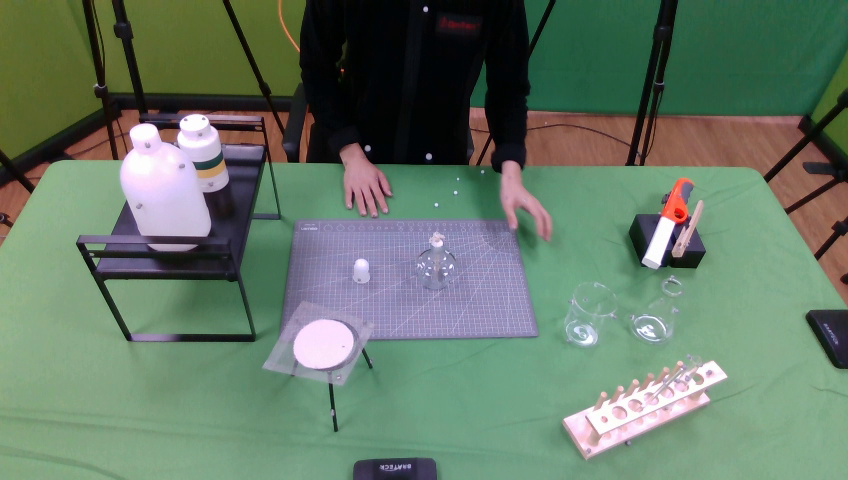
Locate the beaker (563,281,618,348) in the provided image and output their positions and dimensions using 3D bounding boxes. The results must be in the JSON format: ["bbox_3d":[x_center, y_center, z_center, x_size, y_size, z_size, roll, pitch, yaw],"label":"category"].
[{"bbox_3d":[0.283,0.129,1.041,0.074,0.101,0.083,11,46,7],"label":"beaker"}]

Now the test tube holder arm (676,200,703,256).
[{"bbox_3d":[0.523,-0.025,1.190,0.013,0.015,0.178,1,36,41],"label":"test tube holder arm"}]

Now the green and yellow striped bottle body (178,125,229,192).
[{"bbox_3d":[-0.361,-0.142,0.989,0.063,0.120,0.063,2,46,-2],"label":"green and yellow striped bottle body"}]

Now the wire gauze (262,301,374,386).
[{"bbox_3d":[-0.150,0.148,0.873,0.121,0.011,0.124,14,46,12],"label":"wire gauze"}]

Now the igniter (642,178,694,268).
[{"bbox_3d":[0.488,-0.042,1.205,0.057,0.025,0.276,30,52,11],"label":"igniter"}]

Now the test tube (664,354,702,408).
[{"bbox_3d":[0.385,0.215,0.906,0.017,0.151,0.017,-1,49,1],"label":"test tube"}]

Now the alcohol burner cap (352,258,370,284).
[{"bbox_3d":[-0.117,0.055,1.118,0.034,0.048,0.033,1,46,-1],"label":"alcohol burner cap"}]

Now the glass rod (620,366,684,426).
[{"bbox_3d":[0.322,0.227,0.866,0.008,0.200,0.008,6,51,-7],"label":"glass rod"}]

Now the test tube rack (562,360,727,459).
[{"bbox_3d":[0.341,0.247,0.940,0.243,0.085,0.066,-16,49,-19],"label":"test tube rack"}]

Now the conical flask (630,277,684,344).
[{"bbox_3d":[0.408,0.117,1.045,0.075,0.122,0.075,2,46,-2],"label":"conical flask"}]

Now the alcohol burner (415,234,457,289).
[{"bbox_3d":[0.022,0.033,1.100,0.078,0.120,0.077,1,47,-1],"label":"alcohol burner"}]

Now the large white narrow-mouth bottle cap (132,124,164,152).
[{"bbox_3d":[-0.370,-0.137,0.813,0.038,0.024,0.037,3,46,-3],"label":"large white narrow-mouth bottle cap"}]

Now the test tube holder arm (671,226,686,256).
[{"bbox_3d":[0.494,0.001,1.166,0.010,0.015,0.087,1,36,42],"label":"test tube holder arm"}]

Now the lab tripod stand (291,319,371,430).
[{"bbox_3d":[-0.146,0.194,0.923,0.148,0.132,0.147,1,47,-1],"label":"lab tripod stand"}]

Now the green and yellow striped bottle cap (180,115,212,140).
[{"bbox_3d":[-0.358,-0.177,0.951,0.045,0.020,0.045,1,45,-1],"label":"green and yellow striped bottle cap"}]

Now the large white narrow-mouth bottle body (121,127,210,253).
[{"bbox_3d":[-0.378,-0.077,0.875,0.102,0.195,0.101,3,46,-3],"label":"large white narrow-mouth bottle body"}]
